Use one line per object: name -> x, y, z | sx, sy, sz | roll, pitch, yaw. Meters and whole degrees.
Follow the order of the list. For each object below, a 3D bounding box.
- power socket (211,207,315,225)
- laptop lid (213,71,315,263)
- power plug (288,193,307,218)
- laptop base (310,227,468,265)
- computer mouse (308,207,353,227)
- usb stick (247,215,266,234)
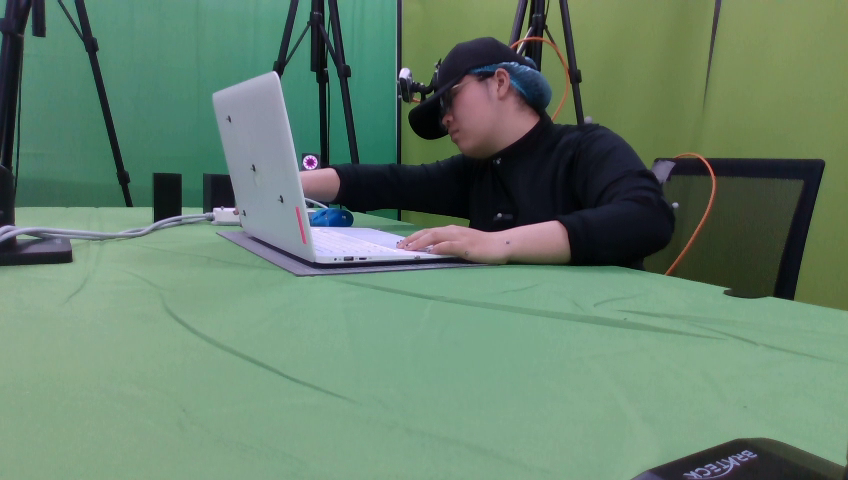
power socket -> -0.335, -0.052, 1.282 | 0.228, 0.032, 0.072 | -2, 9, -28
laptop lid -> -0.240, -0.104, 0.865 | 0.013, 0.241, 0.355 | -16, 17, -28
power plug -> -0.281, -0.076, 1.341 | 0.035, 0.052, 0.072 | 3, 7, -19
laptop base -> -0.122, 0.007, 0.954 | 0.237, 0.023, 0.352 | 2, 6, -31
computer mouse -> -0.202, -0.047, 1.275 | 0.062, 0.041, 0.117 | 9, 15, 23
usb stick -> -0.298, -0.026, 1.080 | 0.021, 0.027, 0.059 | -1, 17, -31
